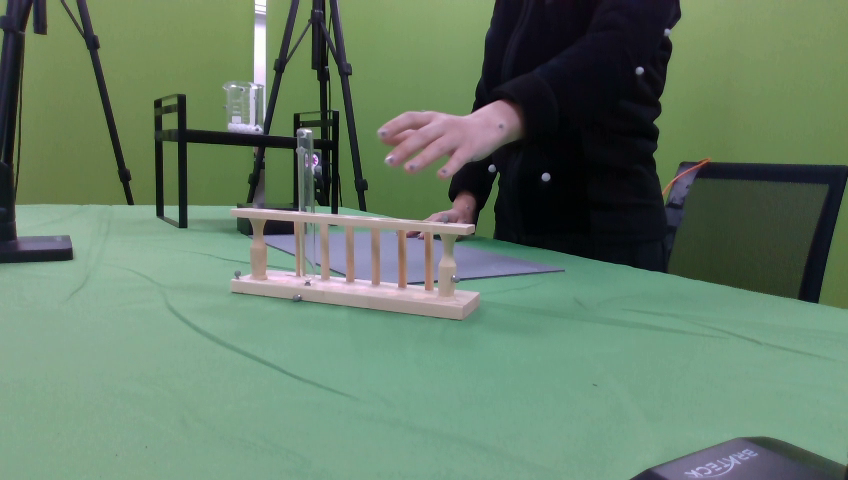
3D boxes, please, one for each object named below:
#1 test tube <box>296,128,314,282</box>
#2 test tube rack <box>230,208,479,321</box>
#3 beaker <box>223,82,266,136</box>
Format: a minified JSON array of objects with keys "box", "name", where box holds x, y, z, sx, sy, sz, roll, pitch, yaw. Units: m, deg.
[{"box":[-0.116,-0.033,0.593,0.017,0.150,0.017,0,6,0],"name":"test tube"},{"box":[-0.069,0.017,0.598,0.242,0.085,0.067,5,8,18],"name":"test tube rack"},{"box":[-0.362,-0.262,1.215,0.084,0.100,0.074,2,7,-1],"name":"beaker"}]
